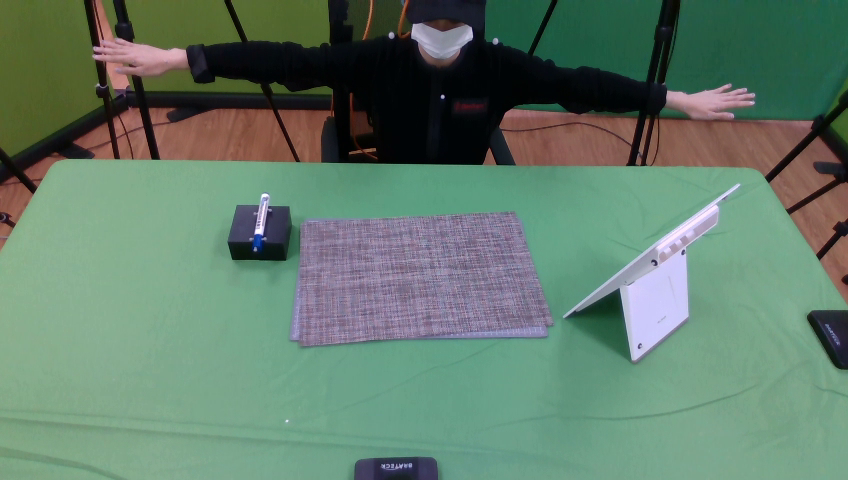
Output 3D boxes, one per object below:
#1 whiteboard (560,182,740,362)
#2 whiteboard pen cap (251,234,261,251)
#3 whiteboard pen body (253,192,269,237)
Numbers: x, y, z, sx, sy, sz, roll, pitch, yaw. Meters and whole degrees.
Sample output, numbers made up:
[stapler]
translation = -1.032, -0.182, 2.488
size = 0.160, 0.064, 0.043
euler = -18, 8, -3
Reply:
[whiteboard]
translation = 0.406, 0.075, 1.001
size = 0.217, 0.306, 0.143
euler = -28, 73, -28
[whiteboard pen cap]
translation = -0.305, 0.003, 1.103
size = 0.018, 0.018, 0.033
euler = -2, 47, -6
[whiteboard pen body]
translation = -0.309, -0.040, 1.146
size = 0.017, 0.017, 0.140
euler = 0, 46, -5
